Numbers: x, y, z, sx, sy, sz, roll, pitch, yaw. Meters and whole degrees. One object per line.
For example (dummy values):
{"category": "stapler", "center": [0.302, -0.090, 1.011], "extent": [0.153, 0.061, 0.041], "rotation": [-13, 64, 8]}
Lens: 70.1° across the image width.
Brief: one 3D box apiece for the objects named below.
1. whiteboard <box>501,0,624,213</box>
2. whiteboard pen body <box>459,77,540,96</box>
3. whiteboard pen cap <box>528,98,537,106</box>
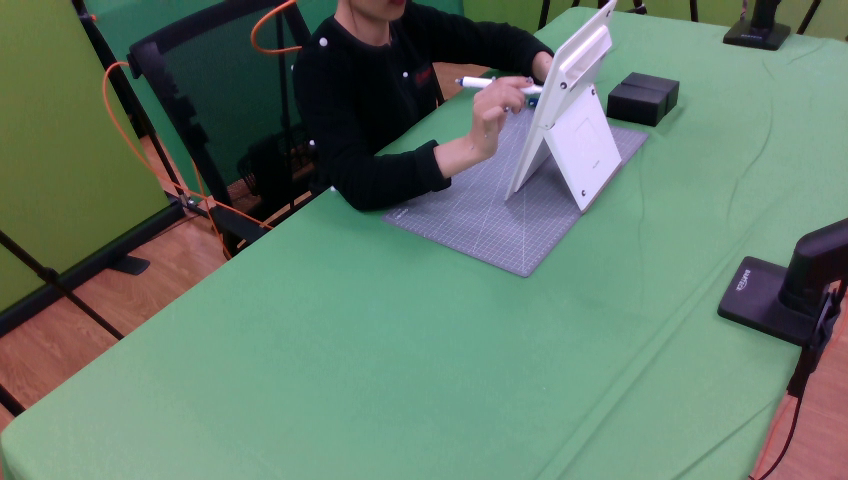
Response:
{"category": "whiteboard", "center": [0.271, -0.189, 0.977], "extent": [0.143, 0.306, 0.218], "rotation": [34, 53, 16]}
{"category": "whiteboard pen body", "center": [0.121, -0.234, 0.927], "extent": [0.140, 0.017, 0.017], "rotation": [13, 45, 18]}
{"category": "whiteboard pen cap", "center": [0.239, -0.293, 1.288], "extent": [0.033, 0.018, 0.018], "rotation": [23, 50, 36]}
